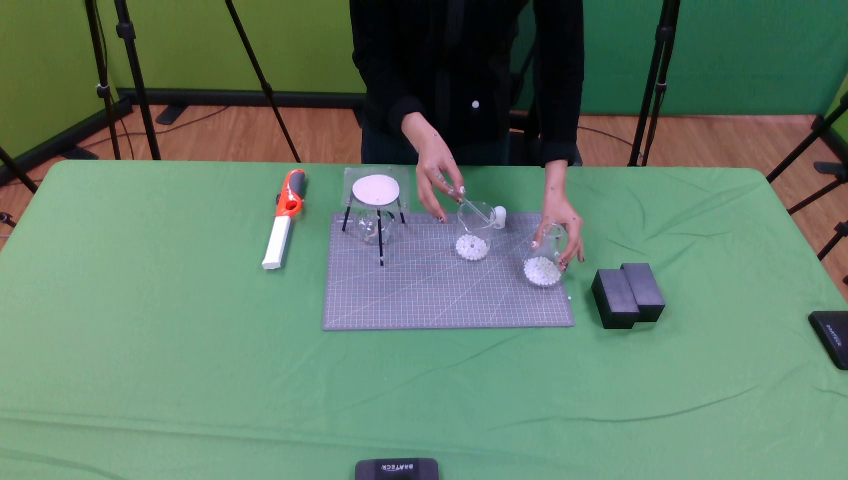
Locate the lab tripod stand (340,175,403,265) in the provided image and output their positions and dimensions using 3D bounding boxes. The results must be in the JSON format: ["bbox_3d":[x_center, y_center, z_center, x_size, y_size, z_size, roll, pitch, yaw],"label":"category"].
[{"bbox_3d":[-0.094,-0.050,1.160,0.148,0.132,0.147,2,44,-2],"label":"lab tripod stand"}]

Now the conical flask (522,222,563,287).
[{"bbox_3d":[0.225,0.024,1.108,0.075,0.122,0.075,1,48,-1],"label":"conical flask"}]

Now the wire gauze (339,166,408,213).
[{"bbox_3d":[-0.091,-0.096,1.110,0.125,0.011,0.120,2,45,-3],"label":"wire gauze"}]

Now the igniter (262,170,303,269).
[{"bbox_3d":[-0.283,-0.050,1.222,0.057,0.025,0.275,-5,45,6],"label":"igniter"}]

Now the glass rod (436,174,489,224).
[{"bbox_3d":[0.072,-0.070,1.085,0.008,0.201,0.008,-14,61,27],"label":"glass rod"}]

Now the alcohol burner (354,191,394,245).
[{"bbox_3d":[-0.096,-0.048,1.171,0.078,0.119,0.077,4,45,-4],"label":"alcohol burner"}]

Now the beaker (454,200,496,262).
[{"bbox_3d":[0.094,-0.012,1.162,0.074,0.101,0.083,16,48,12],"label":"beaker"}]

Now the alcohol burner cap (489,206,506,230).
[{"bbox_3d":[0.152,-0.047,1.241,0.034,0.048,0.033,2,45,-2],"label":"alcohol burner cap"}]
